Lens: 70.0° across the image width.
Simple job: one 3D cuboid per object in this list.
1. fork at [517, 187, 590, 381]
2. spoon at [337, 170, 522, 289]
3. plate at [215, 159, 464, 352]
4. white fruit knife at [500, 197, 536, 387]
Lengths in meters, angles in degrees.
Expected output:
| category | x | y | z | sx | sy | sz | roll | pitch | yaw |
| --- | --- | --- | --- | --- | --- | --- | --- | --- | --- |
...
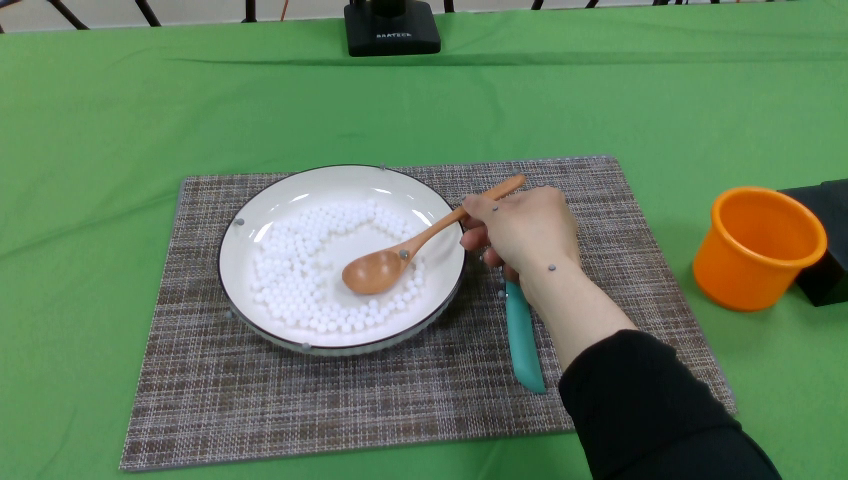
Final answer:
| category | x | y | z | sx | sy | sz | roll | pitch | yaw |
| --- | --- | --- | --- | --- | --- | --- | --- | --- | --- |
| fork | 0.112 | 0.029 | 0.529 | 0.028 | 0.019 | 0.205 | 4 | 46 | -14 |
| spoon | 0.011 | -0.014 | 0.529 | 0.194 | 0.022 | 0.041 | -33 | 56 | -13 |
| plate | -0.070 | 0.010 | 0.524 | 0.209 | 0.038 | 0.207 | 2 | 48 | -1 |
| white fruit knife | 0.076 | 0.033 | 0.527 | 0.027 | 0.016 | 0.205 | 25 | 41 | -21 |
